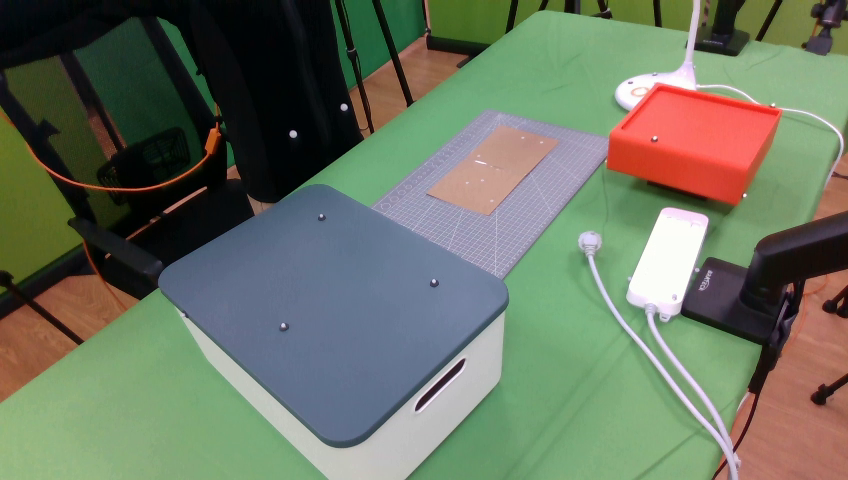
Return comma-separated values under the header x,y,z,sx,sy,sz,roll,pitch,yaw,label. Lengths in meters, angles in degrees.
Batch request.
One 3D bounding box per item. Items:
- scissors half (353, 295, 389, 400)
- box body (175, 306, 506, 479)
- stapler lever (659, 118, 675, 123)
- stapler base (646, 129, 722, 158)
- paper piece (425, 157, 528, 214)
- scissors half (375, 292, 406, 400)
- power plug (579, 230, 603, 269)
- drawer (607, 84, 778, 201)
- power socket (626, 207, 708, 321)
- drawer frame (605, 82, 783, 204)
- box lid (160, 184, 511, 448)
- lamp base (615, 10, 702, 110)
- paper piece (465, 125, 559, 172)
x,y,z,sx,sy,sz,roll,pitch,yaw,label
-0.068,0.142,0.818,0.040,0.013,0.174,-19,44,-2,scissors half
-0.105,0.111,0.751,0.361,0.161,0.255,28,52,34,box body
0.436,-0.193,1.014,0.118,0.040,0.026,-15,24,-16,stapler lever
0.439,-0.167,1.023,0.131,0.024,0.041,-17,24,-15,stapler base
0.095,-0.103,1.089,0.134,0.004,0.136,22,48,30,paper piece
-0.048,0.139,0.817,0.040,0.013,0.174,-3,45,7,scissors half
0.245,0.018,0.909,0.035,0.053,0.072,16,65,21,power plug
0.438,-0.167,0.995,0.210,0.073,0.195,23,48,30,drawer
0.360,0.026,0.886,0.072,0.033,0.227,16,46,26,power socket
0.441,-0.167,0.995,0.212,0.083,0.202,23,48,30,drawer frame
-0.114,0.054,0.705,0.368,0.015,0.264,29,51,34,box lid
0.484,-0.364,1.211,0.180,0.181,0.159,-15,41,-14,lamp base
0.171,-0.177,1.168,0.137,0.009,0.136,21,44,31,paper piece
